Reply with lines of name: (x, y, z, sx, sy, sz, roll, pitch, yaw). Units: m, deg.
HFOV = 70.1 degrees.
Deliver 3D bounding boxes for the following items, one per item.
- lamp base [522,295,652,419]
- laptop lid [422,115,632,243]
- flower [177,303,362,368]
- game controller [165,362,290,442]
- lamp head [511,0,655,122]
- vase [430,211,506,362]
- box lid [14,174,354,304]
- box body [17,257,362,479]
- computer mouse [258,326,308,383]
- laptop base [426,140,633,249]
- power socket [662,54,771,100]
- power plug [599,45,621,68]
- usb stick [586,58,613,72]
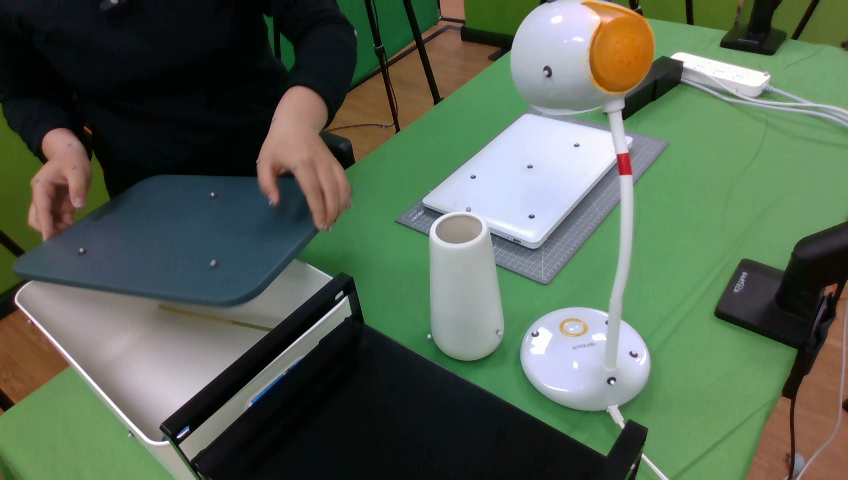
lamp base: (0.201, 0.095, 0.710, 0.161, 0.181, 0.177, -16, 43, -10)
laptop lid: (0.190, -0.126, 1.081, 0.239, 0.013, 0.358, 23, 48, 34)
flower: (-0.233, 0.118, 0.833, 0.359, 0.044, 0.038, 8, 1, 33)
game controller: (-0.234, 0.211, 0.736, 0.096, 0.052, 0.155, 27, 52, 32)
lamp head: (0.155, -0.168, 0.564, 0.113, 0.113, 0.122, -18, 23, -12)
vase: (0.054, 0.062, 0.757, 0.098, 0.201, 0.097, -3, 40, 3)
box lid: (-0.296, -0.016, 0.768, 0.369, 0.015, 0.263, 4, 34, 22)
box body: (-0.285, 0.123, 0.766, 0.361, 0.161, 0.255, 25, 49, 33)
computer mouse: (-0.160, 0.157, 0.792, 0.116, 0.041, 0.063, 27, 47, 23)
laptop base: (0.194, -0.117, 1.087, 0.233, 0.023, 0.355, 21, 47, 34)
power socket: (0.615, -0.348, 1.284, 0.072, 0.033, 0.225, -36, 48, -29)
power plug: (0.437, -0.422, 1.413, 0.053, 0.035, 0.072, -18, 75, -47)
usb stick: (0.401, -0.399, 1.380, 0.059, 0.027, 0.021, 1, 48, 20)
